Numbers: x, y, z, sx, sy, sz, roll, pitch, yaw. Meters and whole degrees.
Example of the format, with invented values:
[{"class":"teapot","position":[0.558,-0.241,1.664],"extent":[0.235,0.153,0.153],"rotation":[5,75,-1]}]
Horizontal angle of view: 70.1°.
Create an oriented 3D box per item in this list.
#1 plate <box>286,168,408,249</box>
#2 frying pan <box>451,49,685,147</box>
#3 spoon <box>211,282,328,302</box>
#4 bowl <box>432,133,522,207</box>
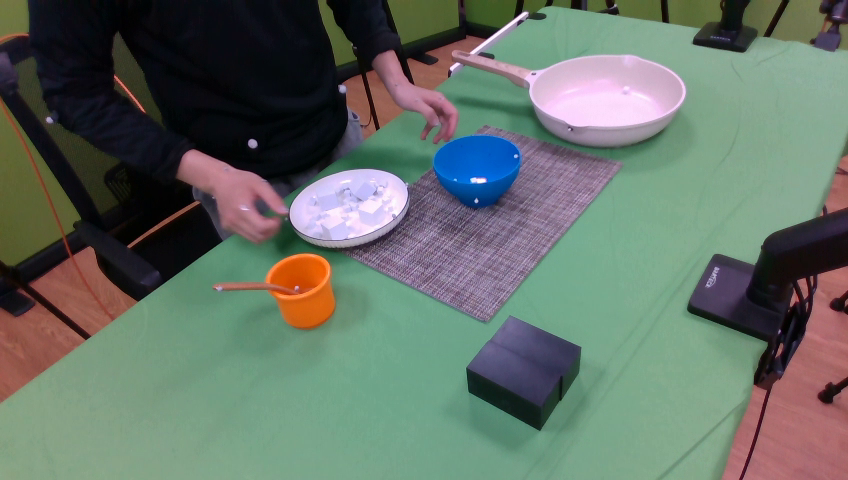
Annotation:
[{"class":"plate","position":[-0.127,-0.050,1.028],"extent":[0.207,0.039,0.206],"rotation":[-5,39,5]},{"class":"frying pan","position":[0.269,-0.316,1.233],"extent":[0.485,0.103,0.307],"rotation":[26,49,21]},{"class":"spoon","position":[-0.204,0.067,0.822],"extent":[0.041,0.195,0.021],"rotation":[27,96,36]},{"class":"bowl","position":[0.092,-0.110,1.034],"extent":[0.151,0.077,0.150],"rotation":[-4,41,4]}]
